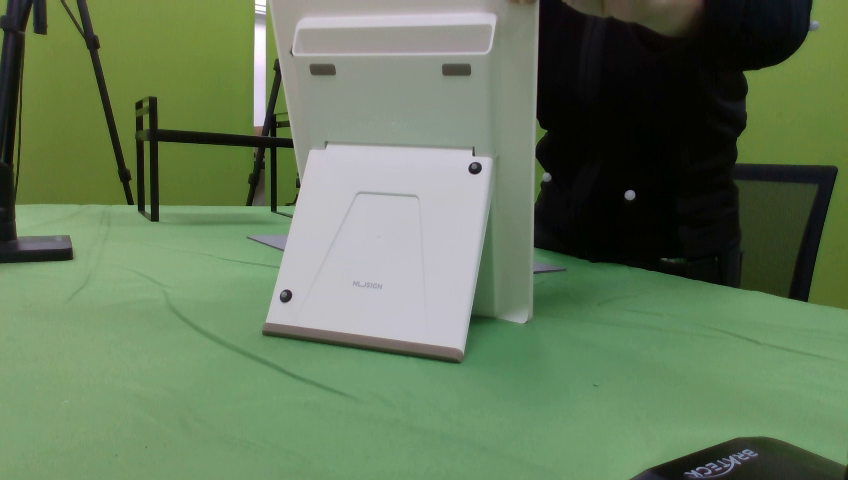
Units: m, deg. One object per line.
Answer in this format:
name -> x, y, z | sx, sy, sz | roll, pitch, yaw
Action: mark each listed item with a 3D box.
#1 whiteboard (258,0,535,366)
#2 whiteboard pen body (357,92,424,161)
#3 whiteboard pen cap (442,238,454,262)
whiteboard -> -0.037, -0.040, 0.456 | 0.216, 0.305, 0.144 | 5, 27, 19
whiteboard pen body -> -0.031, -0.109, 0.579 | 0.017, 0.017, 0.141 | 6, 36, 23
whiteboard pen cap -> 0.033, 0.014, 0.851 | 0.018, 0.033, 0.018 | 3, 5, 0
